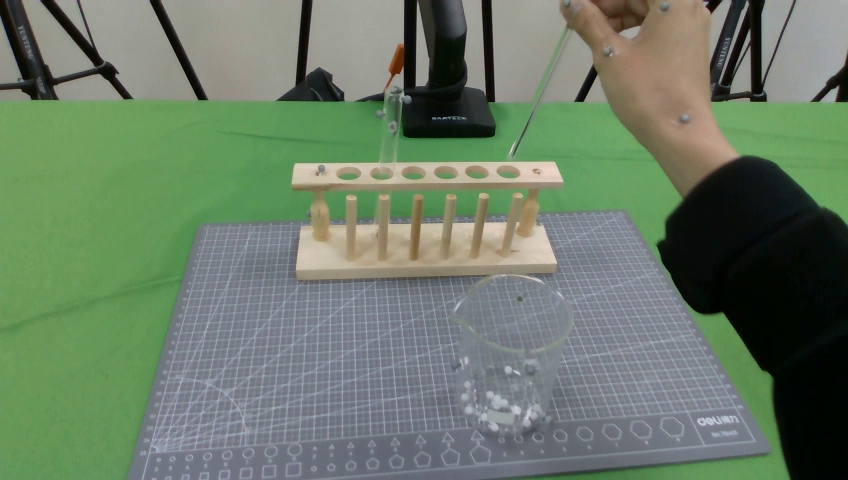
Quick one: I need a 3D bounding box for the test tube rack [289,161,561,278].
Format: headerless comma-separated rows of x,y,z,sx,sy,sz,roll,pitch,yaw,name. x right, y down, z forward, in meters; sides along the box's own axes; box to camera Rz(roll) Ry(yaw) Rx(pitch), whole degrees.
0.002,-0.020,0.562,0.243,0.086,0.066,-1,40,-6,test tube rack

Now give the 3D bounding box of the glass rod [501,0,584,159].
0.087,-0.128,0.401,0.008,0.201,0.008,10,48,-11,glass rod

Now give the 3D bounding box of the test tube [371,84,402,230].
-0.035,-0.067,0.537,0.017,0.151,0.017,6,41,-5,test tube

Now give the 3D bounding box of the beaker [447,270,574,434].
0.056,0.083,0.430,0.084,0.101,0.073,0,39,-3,beaker
